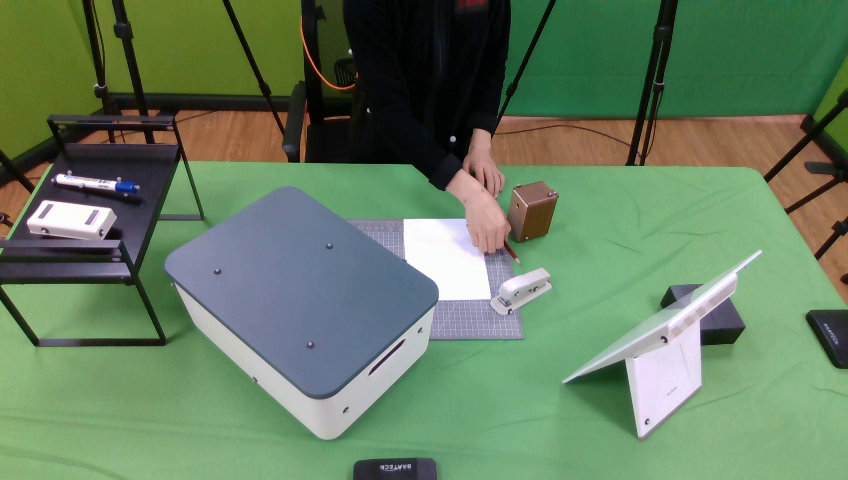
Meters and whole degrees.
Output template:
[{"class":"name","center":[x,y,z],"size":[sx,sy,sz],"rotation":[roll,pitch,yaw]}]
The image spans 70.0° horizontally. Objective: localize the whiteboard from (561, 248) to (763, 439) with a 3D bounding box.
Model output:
[{"class":"whiteboard","center":[0.386,0.176,0.905],"size":[0.217,0.306,0.143],"rotation":[-26,72,-27]}]

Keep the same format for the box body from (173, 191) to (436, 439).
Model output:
[{"class":"box body","center":[-0.191,0.110,0.979],"size":[0.362,0.161,0.254],"rotation":[33,53,24]}]

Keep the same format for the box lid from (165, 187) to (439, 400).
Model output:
[{"class":"box lid","center":[-0.186,0.060,0.925],"size":[0.370,0.015,0.263],"rotation":[32,53,25]}]

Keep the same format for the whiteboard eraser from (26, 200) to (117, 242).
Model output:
[{"class":"whiteboard eraser","center":[-0.532,-0.026,0.919],"size":[0.113,0.042,0.055],"rotation":[7,45,3]}]

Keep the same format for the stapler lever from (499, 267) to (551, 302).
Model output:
[{"class":"stapler lever","center":[0.185,0.076,1.101],"size":[0.118,0.040,0.026],"rotation":[-25,56,-29]}]

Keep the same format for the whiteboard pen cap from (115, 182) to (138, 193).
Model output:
[{"class":"whiteboard pen cap","center":[-0.483,-0.086,0.984],"size":[0.033,0.018,0.018],"rotation":[7,46,10]}]

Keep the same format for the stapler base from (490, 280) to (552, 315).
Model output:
[{"class":"stapler base","center":[0.181,0.094,1.118],"size":[0.130,0.024,0.041],"rotation":[-24,56,-29]}]

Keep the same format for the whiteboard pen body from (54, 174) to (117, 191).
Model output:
[{"class":"whiteboard pen body","center":[-0.541,-0.093,0.993],"size":[0.140,0.017,0.017],"rotation":[7,46,9]}]

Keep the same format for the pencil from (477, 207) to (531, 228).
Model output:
[{"class":"pencil","center":[0.156,-0.044,1.196],"size":[0.012,0.012,0.193],"rotation":[-19,21,-21]}]

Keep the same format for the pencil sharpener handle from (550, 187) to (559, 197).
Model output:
[{"class":"pencil sharpener handle","center":[0.261,-0.084,1.221],"size":[0.031,0.068,0.036],"rotation":[-16,66,-19]}]

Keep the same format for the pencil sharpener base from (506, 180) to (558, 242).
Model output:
[{"class":"pencil sharpener base","center":[0.216,-0.059,1.211],"size":[0.077,0.107,0.061],"rotation":[-16,49,-19]}]
